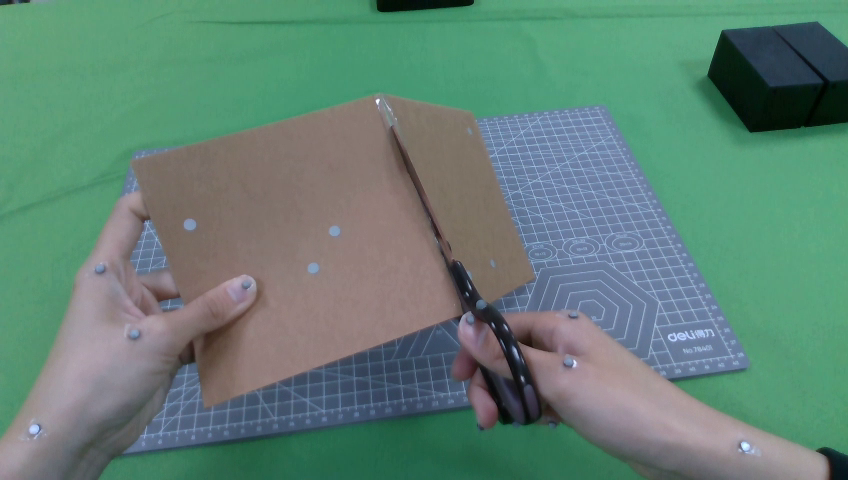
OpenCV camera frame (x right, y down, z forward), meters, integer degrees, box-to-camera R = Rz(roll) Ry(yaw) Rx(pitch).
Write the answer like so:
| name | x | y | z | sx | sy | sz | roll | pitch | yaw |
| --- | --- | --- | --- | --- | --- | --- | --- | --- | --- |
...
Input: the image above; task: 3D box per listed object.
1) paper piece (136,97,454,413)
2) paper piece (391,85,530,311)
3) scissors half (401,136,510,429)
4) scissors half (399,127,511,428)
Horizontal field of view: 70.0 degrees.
| name | x | y | z | sx | sy | sz | roll | pitch | yaw |
| --- | --- | --- | --- | --- | --- | --- | --- | --- | --- |
| paper piece | -0.064 | 0.002 | 0.319 | 0.136 | 0.004 | 0.135 | -19 | 83 | -14 |
| paper piece | 0.029 | -0.028 | 0.395 | 0.008 | 0.136 | 0.138 | -17 | -1 | 26 |
| scissors half | 0.011 | 0.011 | 0.315 | 0.013 | 0.040 | 0.173 | -20 | 60 | 2 |
| scissors half | 0.014 | 0.018 | 0.336 | 0.013 | 0.040 | 0.174 | -18 | 85 | -2 |
